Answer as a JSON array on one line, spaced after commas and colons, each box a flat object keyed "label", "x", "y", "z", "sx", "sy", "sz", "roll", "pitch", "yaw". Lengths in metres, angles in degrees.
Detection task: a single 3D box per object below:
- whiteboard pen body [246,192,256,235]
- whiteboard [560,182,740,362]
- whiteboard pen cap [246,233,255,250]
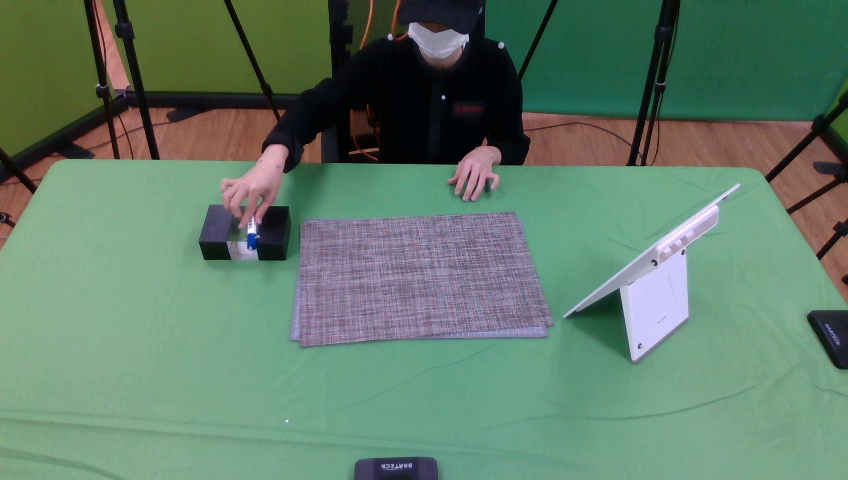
[{"label": "whiteboard pen body", "x": -0.327, "y": -0.041, "z": 1.147, "sx": 0.017, "sy": 0.017, "sz": 0.140, "roll": -5, "pitch": 46, "yaw": -9}, {"label": "whiteboard", "x": 0.406, "y": 0.075, "z": 1.001, "sx": 0.217, "sy": 0.306, "sz": 0.143, "roll": -28, "pitch": 73, "yaw": -28}, {"label": "whiteboard pen cap", "x": -0.317, "y": 0.002, "z": 1.105, "sx": 0.018, "sy": 0.018, "sz": 0.033, "roll": -6, "pitch": 48, "yaw": -10}]
